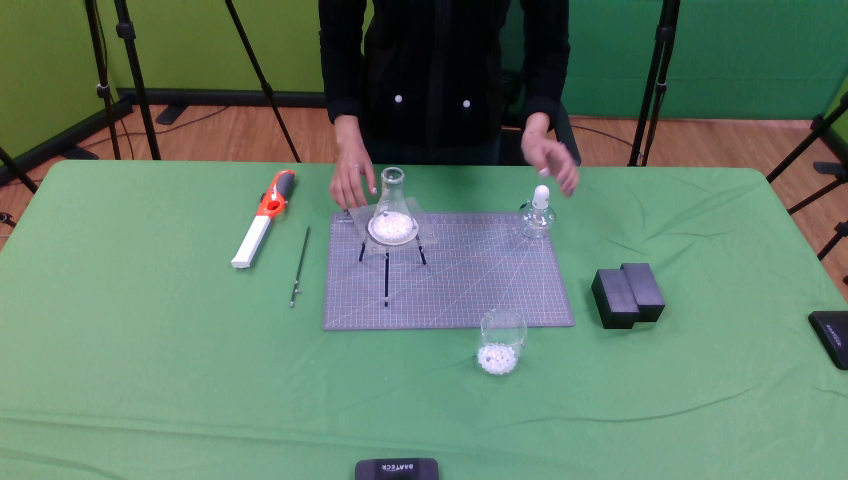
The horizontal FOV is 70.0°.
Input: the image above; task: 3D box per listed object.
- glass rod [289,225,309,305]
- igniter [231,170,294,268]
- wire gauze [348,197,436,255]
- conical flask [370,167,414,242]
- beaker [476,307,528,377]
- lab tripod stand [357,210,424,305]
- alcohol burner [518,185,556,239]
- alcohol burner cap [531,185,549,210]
[{"bbox_3d":[-0.235,0.043,1.149,0.008,0.008,0.198,3,46,-1],"label":"glass rod"},{"bbox_3d":[-0.321,-0.051,1.220,0.057,0.025,0.275,2,45,11],"label":"igniter"},{"bbox_3d":[-0.056,-0.025,1.046,0.125,0.011,0.120,-14,46,-15],"label":"wire gauze"},{"bbox_3d":[-0.053,-0.062,1.000,0.075,0.122,0.075,2,43,-2],"label":"conical flask"},{"bbox_3d":[0.122,0.171,0.991,0.084,0.101,0.073,-34,56,-30],"label":"beaker"},{"bbox_3d":[-0.060,0.020,1.094,0.148,0.132,0.147,3,44,-2],"label":"lab tripod stand"},{"bbox_3d":[0.227,-0.061,1.209,0.078,0.120,0.077,1,44,-1],"label":"alcohol burner"},{"bbox_3d":[0.228,-0.085,1.183,0.034,0.048,0.033,-1,48,2],"label":"alcohol burner cap"}]
